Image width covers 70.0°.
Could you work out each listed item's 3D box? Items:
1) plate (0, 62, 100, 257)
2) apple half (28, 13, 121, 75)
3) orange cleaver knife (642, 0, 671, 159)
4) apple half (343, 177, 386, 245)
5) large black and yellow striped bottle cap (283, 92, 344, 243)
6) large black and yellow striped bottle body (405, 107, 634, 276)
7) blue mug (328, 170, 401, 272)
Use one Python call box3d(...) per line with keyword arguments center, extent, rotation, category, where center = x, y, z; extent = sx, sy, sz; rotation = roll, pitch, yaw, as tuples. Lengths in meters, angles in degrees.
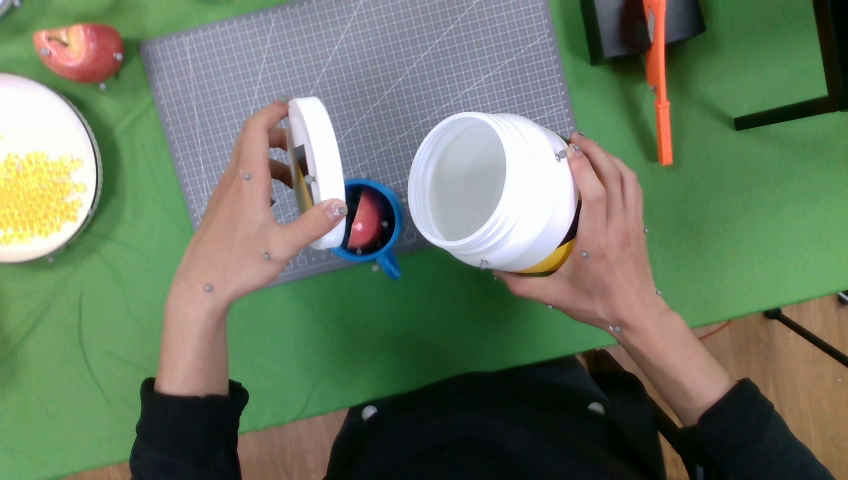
box3d(center=(-0.456, -0.086, 0.661), extent=(0.209, 0.038, 0.209), rotation=(0, 97, -1), category="plate")
box3d(center=(-0.359, -0.201, 0.634), extent=(0.081, 0.074, 0.053), rotation=(-11, 100, -4), category="apple half")
box3d(center=(0.246, -0.189, 0.645), extent=(0.012, 0.076, 0.213), rotation=(-12, 123, 9), category="orange cleaver knife")
box3d(center=(-0.056, -0.027, 0.636), extent=(0.033, 0.081, 0.081), rotation=(18, 96, 5), category="apple half")
box3d(center=(-0.086, -0.054, 0.462), extent=(0.019, 0.114, 0.115), rotation=(-13, 97, -18), category="large black and yellow striped bottle cap")
box3d(center=(0.085, -0.040, 0.534), extent=(0.185, 0.129, 0.131), rotation=(10, 98, -44), category="large black and yellow striped bottle body")
box3d(center=(-0.058, -0.017, 0.643), extent=(0.082, 0.105, 0.117), rotation=(-29, 96, 2), category="blue mug")
